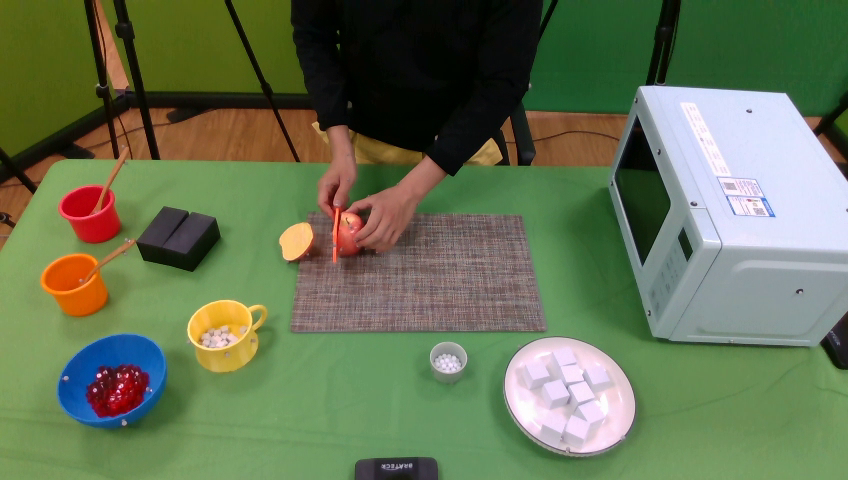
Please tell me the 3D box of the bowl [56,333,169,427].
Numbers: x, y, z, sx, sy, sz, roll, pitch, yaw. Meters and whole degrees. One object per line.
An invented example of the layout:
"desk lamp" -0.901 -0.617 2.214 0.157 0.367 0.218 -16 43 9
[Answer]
"bowl" -0.456 0.223 0.911 0.151 0.077 0.150 3 46 -2

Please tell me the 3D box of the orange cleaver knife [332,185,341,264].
"orange cleaver knife" -0.170 -0.034 1.174 0.012 0.077 0.210 2 34 -7

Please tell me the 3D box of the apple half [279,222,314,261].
"apple half" -0.237 0.007 1.157 0.081 0.033 0.081 -14 57 23

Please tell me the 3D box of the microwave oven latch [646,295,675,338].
"microwave oven latch" 0.412 0.134 1.061 0.030 0.029 0.078 4 45 1

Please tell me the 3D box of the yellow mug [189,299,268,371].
"yellow mug" -0.316 0.148 1.002 0.131 0.064 0.099 -33 56 -31

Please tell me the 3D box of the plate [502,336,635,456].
"plate" 0.225 0.248 0.964 0.208 0.039 0.206 2 46 -2

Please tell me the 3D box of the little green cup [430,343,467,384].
"little green cup" 0.039 0.203 0.994 0.061 0.039 0.061 2 46 -2

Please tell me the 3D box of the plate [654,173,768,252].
"plate" 0.555 -0.049 1.187 0.209 0.038 0.208 1 47 -1

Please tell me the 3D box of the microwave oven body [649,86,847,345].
"microwave oven body" 0.568 -0.053 1.118 0.326 0.261 0.439 2 45 -1

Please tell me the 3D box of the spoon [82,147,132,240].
"spoon" -0.602 -0.089 1.156 0.041 0.022 0.193 27 95 19

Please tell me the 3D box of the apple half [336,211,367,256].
"apple half" -0.136 -0.010 1.157 0.053 0.075 0.080 6 40 -3

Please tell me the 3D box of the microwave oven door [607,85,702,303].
"microwave oven door" 0.423 -0.094 1.141 0.039 0.245 0.353 2 46 -1

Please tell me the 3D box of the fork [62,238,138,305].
"fork" -0.547 0.053 1.018 0.207 0.019 0.028 -36 41 23

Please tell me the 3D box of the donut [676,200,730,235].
"donut" 0.538 -0.044 1.170 0.099 0.048 0.098 4 30 -2
